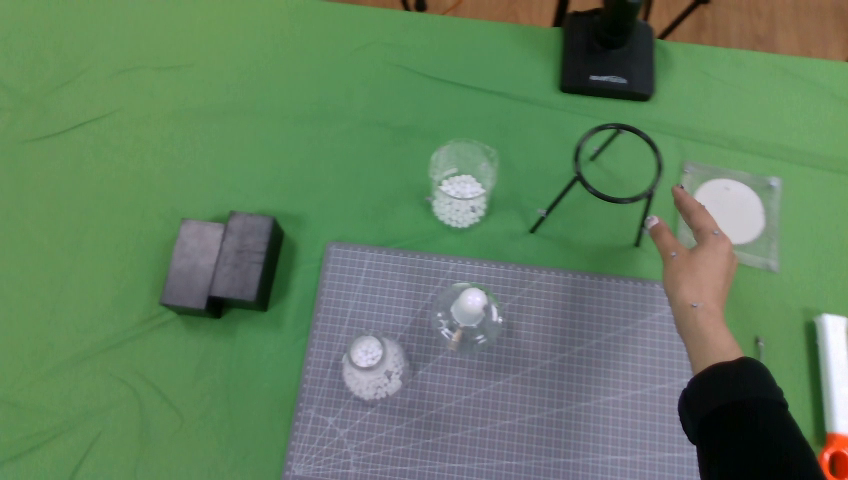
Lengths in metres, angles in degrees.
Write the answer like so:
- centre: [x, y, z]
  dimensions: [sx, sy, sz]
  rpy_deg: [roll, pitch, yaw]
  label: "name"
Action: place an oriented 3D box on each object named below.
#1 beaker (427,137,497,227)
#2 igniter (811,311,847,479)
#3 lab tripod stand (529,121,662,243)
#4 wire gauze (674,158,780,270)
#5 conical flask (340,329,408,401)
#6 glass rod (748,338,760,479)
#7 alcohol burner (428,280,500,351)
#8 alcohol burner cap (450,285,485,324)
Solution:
- centre: [0.043, -0.063, 0.694]
  dimensions: [0.084, 0.101, 0.073]
  rpy_deg: [-32, 74, -11]
  label: "beaker"
- centre: [0.439, 0.212, 0.642]
  dimensions: [0.057, 0.025, 0.275]
  rpy_deg: [11, 71, -8]
  label: "igniter"
- centre: [0.194, -0.059, 0.675]
  dimensions: [0.148, 0.132, 0.147]
  rpy_deg: [0, 73, 0]
  label: "lab tripod stand"
- centre: [0.368, -0.036, 0.735]
  dimensions: [0.125, 0.011, 0.121]
  rpy_deg: [14, 73, 2]
  label: "wire gauze"
- centre: [-0.055, 0.121, 0.616]
  dimensions: [0.075, 0.122, 0.075]
  rpy_deg: [0, 71, 0]
  label: "conical flask"
- centre: [0.356, 0.203, 0.654]
  dimensions: [0.008, 0.008, 0.198]
  rpy_deg: [12, 71, 3]
  label: "glass rod"
- centre: [0.044, 0.075, 0.636]
  dimensions: [0.078, 0.120, 0.077]
  rpy_deg: [1, 71, -2]
  label: "alcohol burner"
- centre: [0.045, 0.062, 0.603]
  dimensions: [0.034, 0.048, 0.033]
  rpy_deg: [4, 65, -8]
  label: "alcohol burner cap"
